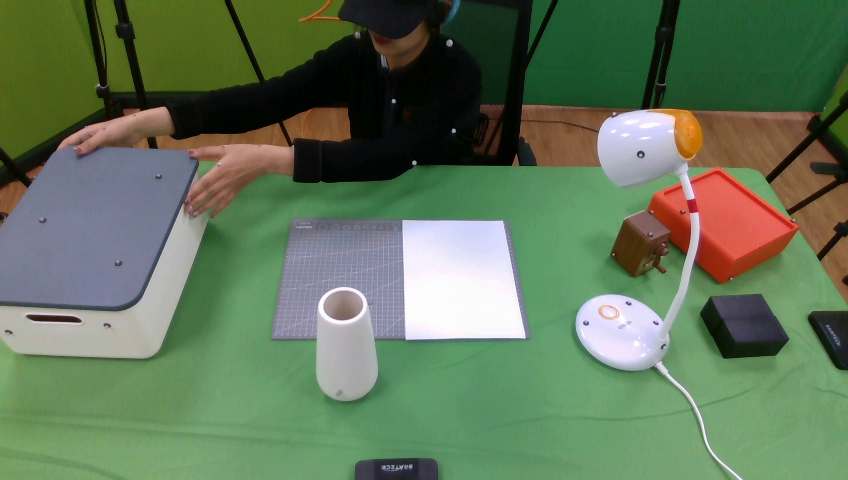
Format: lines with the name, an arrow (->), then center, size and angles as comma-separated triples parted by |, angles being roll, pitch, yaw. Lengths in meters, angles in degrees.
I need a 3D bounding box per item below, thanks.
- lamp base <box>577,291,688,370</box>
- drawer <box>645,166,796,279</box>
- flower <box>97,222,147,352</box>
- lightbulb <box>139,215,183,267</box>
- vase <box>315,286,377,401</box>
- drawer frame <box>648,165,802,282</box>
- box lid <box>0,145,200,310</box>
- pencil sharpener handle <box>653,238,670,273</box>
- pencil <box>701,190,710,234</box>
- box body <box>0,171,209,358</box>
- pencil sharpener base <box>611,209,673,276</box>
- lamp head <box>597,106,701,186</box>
lamp base -> 0.361, 0.110, 1.003 | 0.160, 0.181, 0.178 | -31, 57, -29
drawer -> 0.600, -0.041, 1.236 | 0.195, 0.073, 0.210 | -21, 51, -23
flower -> -0.557, 0.069, 1.089 | 0.044, 0.038, 0.359 | -23, 47, -19
lightbulb -> -0.496, 0.003, 1.131 | 0.059, 0.060, 0.107 | 18, 64, 13
vase -> -0.119, 0.159, 0.911 | 0.098, 0.201, 0.097 | 2, 47, -2
drawer frame -> 0.603, -0.041, 1.233 | 0.202, 0.083, 0.212 | -21, 51, -23
box lid -> -0.541, -0.037, 0.993 | 0.263, 0.015, 0.369 | 3, 45, -2
pencil sharpener handle -> 0.444, 0.030, 1.120 | 0.036, 0.068, 0.030 | -25, 52, -18
pencil -> 0.584, -0.059, 1.256 | 0.012, 0.012, 0.193 | 16, 34, 11
box body -> -0.545, 0.017, 1.045 | 0.254, 0.161, 0.361 | 2, 46, -2
pencil sharpener base -> 0.416, 0.007, 1.158 | 0.061, 0.107, 0.076 | -21, 51, -22
lamp head -> 0.329, -0.138, 0.865 | 0.112, 0.113, 0.122 | -36, 20, -32
